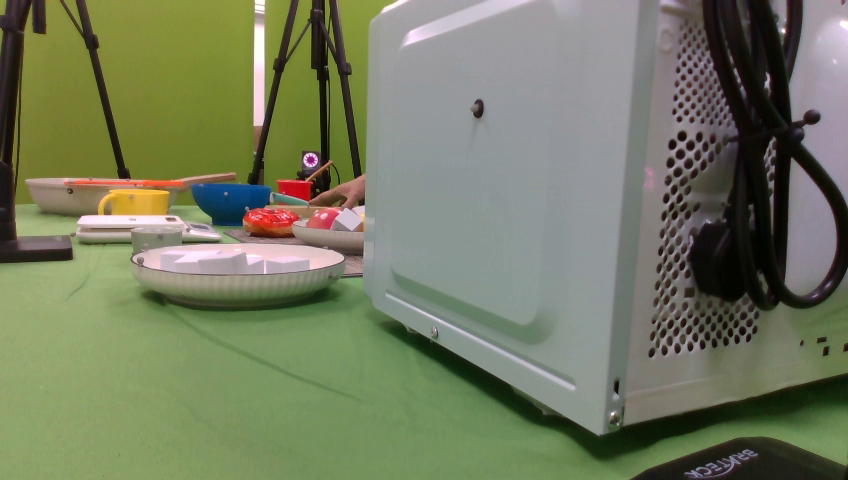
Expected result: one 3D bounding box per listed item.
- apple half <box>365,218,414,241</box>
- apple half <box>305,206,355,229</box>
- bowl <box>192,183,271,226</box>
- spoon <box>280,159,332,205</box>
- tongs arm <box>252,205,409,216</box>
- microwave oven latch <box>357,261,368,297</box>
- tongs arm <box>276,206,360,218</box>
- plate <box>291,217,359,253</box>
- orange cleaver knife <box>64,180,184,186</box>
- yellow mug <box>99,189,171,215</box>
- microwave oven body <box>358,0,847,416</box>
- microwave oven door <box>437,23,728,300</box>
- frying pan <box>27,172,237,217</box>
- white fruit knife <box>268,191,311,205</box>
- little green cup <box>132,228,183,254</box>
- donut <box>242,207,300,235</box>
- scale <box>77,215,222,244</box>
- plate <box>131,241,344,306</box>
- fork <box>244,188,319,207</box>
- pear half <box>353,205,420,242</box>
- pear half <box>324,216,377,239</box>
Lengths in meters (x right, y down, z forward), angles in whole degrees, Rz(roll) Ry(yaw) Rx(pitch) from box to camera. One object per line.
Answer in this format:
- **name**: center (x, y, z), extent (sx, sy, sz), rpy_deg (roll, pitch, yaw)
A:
- **apple half**: center (-0.054, -0.019, 0.967), extent (0.081, 0.033, 0.081), rpy_deg (-4, 10, 1)
- **apple half**: center (-0.138, -0.025, 0.917), extent (0.081, 0.053, 0.074), rpy_deg (0, 10, -43)
- **bowl**: center (-0.382, -0.071, 1.202), extent (0.151, 0.077, 0.151), rpy_deg (3, 7, 0)
- **spoon**: center (-0.316, -0.159, 1.640), extent (0.194, 0.022, 0.041), rpy_deg (-50, 31, -20)
- **tongs arm**: center (-0.219, -0.072, 1.470), extent (0.389, 0.027, 0.028), rpy_deg (-1, -1, -26)
- **microwave oven latch**: center (-0.019, 0.033, 0.530), extent (0.079, 0.029, 0.030), rpy_deg (-1, 7, -27)
- **tongs arm**: center (-0.174, -0.066, 1.404), extent (0.387, 0.026, 0.050), rpy_deg (-3, 3, -39)
- **plate**: center (-0.103, -0.009, 0.945), extent (0.209, 0.038, 0.209), rpy_deg (2, 7, 0)
- **orange cleaver knife**: center (-0.595, -0.114, 1.212), extent (0.212, 0.012, 0.077), rpy_deg (-4, 6, -41)
- **yellow mug**: center (-0.519, -0.055, 1.080), extent (0.099, 0.064, 0.131), rpy_deg (7, 9, 26)
- **microwave oven body**: center (0.211, -0.047, 0.475), extent (0.444, 0.260, 0.324), rpy_deg (-1, 7, -28)
- **microwave oven door**: center (0.180, -0.072, 0.621), extent (0.358, 0.243, 0.039), rpy_deg (-2, 8, -29)
- **frying pan**: center (-0.624, -0.118, 1.387), extent (0.305, 0.102, 0.490), rpy_deg (8, 17, 32)
- **white fruit knife**: center (-0.364, -0.105, 1.464), extent (0.208, 0.027, 0.016), rpy_deg (15, -1, -34)
- **little green cup**: center (-0.342, 0.006, 0.779), extent (0.061, 0.038, 0.061), rpy_deg (2, 8, 0)
- **donut**: center (-0.263, -0.032, 1.039), extent (0.099, 0.048, 0.099), rpy_deg (4, 9, 0)
- **scale**: center (-0.434, -0.019, 0.963), extent (0.202, 0.031, 0.148), rpy_deg (-1, 9, -27)
- **plate**: center (-0.187, 0.033, 0.625), extent (0.208, 0.039, 0.207), rpy_deg (2, 7, 0)
- **fork**: center (-0.356, -0.105, 1.526), extent (0.208, 0.018, 0.028), rpy_deg (16, -5, -41)
- **pear half**: center (-0.051, -0.024, 0.905), extent (0.110, 0.056, 0.076), rpy_deg (2, -1, -38)
- **pear half**: center (-0.119, -0.023, 0.996), extent (0.088, 0.031, 0.070), rpy_deg (-5, 23, -27)
